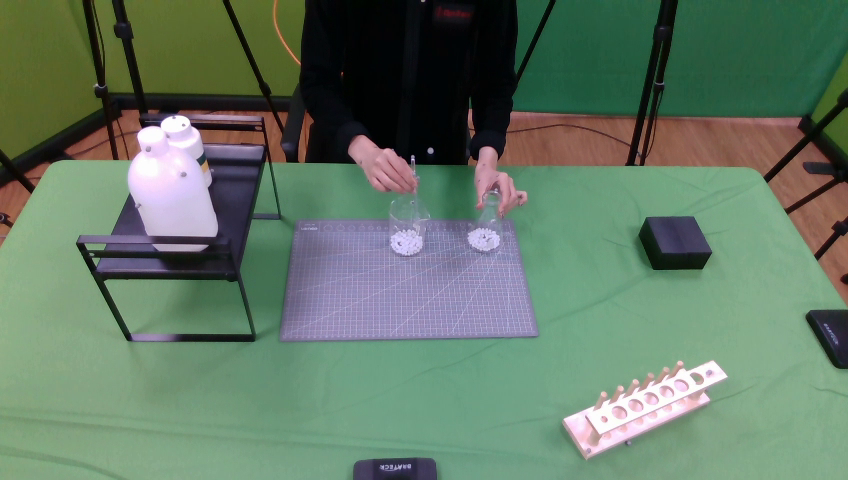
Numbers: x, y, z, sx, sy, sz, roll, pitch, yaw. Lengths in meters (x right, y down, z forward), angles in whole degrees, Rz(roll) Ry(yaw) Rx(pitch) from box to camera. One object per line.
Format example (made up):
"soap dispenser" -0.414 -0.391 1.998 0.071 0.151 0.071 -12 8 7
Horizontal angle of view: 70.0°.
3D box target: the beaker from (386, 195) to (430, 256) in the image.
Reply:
"beaker" -0.031 -0.024 1.161 0.084 0.101 0.073 18 48 12

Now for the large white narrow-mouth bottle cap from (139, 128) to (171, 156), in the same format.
"large white narrow-mouth bottle cap" -0.358 -0.131 0.808 0.038 0.024 0.037 3 47 -3

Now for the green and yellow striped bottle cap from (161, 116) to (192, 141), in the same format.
"green and yellow striped bottle cap" -0.387 -0.174 0.946 0.045 0.020 0.045 3 44 -3

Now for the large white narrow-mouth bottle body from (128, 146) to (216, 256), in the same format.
"large white narrow-mouth bottle body" -0.366 -0.073 0.872 0.102 0.195 0.101 3 47 -3

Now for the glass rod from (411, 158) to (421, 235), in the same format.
"glass rod" -0.014 -0.076 1.120 0.008 0.201 0.008 -2 49 3

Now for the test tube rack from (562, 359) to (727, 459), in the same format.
"test tube rack" 0.341 0.247 0.940 0.243 0.085 0.066 -16 49 -18

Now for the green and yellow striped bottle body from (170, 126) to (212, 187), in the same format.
"green and yellow striped bottle body" -0.389 -0.139 0.984 0.063 0.120 0.063 2 46 -2

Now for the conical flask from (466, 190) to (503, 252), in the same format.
"conical flask" 0.123 -0.040 1.172 0.075 0.122 0.075 2 46 -2
